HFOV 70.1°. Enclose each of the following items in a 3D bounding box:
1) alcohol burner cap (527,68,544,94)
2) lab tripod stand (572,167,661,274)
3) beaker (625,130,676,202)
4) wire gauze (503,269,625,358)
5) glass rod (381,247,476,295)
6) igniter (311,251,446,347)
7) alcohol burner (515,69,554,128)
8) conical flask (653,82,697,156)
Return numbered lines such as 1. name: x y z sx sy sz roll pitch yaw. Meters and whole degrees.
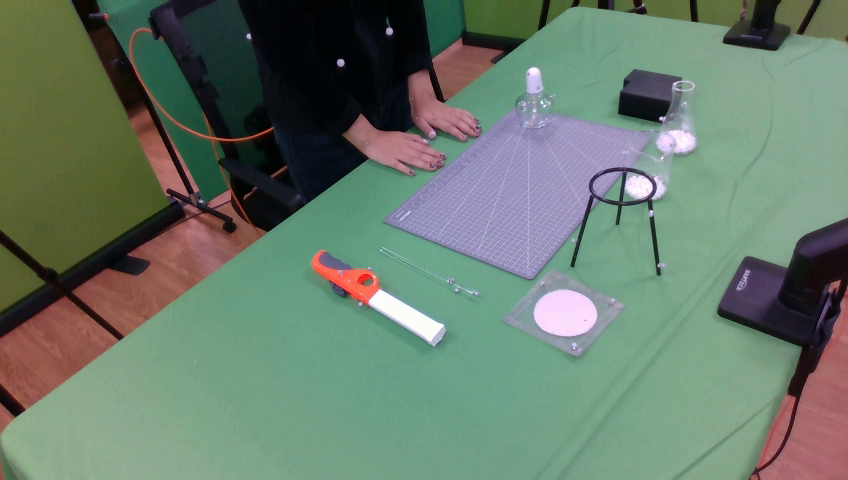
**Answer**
1. alcohol burner cap: 0.216 -0.312 1.179 0.034 0.048 0.033 -10 40 9
2. lab tripod stand: 0.283 -0.030 0.879 0.148 0.132 0.147 -7 38 6
3. beaker: 0.369 -0.117 0.992 0.074 0.101 0.083 -6 41 5
4. wire gauze: 0.194 0.100 0.840 0.120 0.011 0.125 27 54 36
5. glass rod: 0.002 0.046 0.939 0.198 0.008 0.008 24 51 36
6. igniter: -0.078 0.081 0.899 0.274 0.025 0.057 27 62 35
7. alcohol burner: 0.221 -0.285 1.203 0.078 0.119 0.077 -4 39 4
8. conical flask: 0.454 -0.218 1.077 0.075 0.122 0.075 -5 40 5
